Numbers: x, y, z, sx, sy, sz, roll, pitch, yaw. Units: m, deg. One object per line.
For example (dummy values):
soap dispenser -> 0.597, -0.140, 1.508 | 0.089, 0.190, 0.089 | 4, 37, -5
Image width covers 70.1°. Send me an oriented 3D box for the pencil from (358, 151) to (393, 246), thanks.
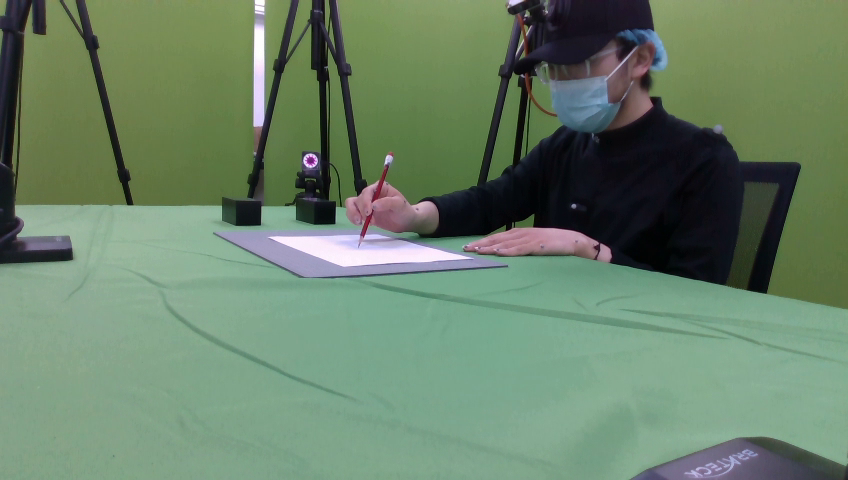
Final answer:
pencil -> -0.079, -0.071, 0.989 | 0.012, 0.194, 0.012 | 12, -31, 7
